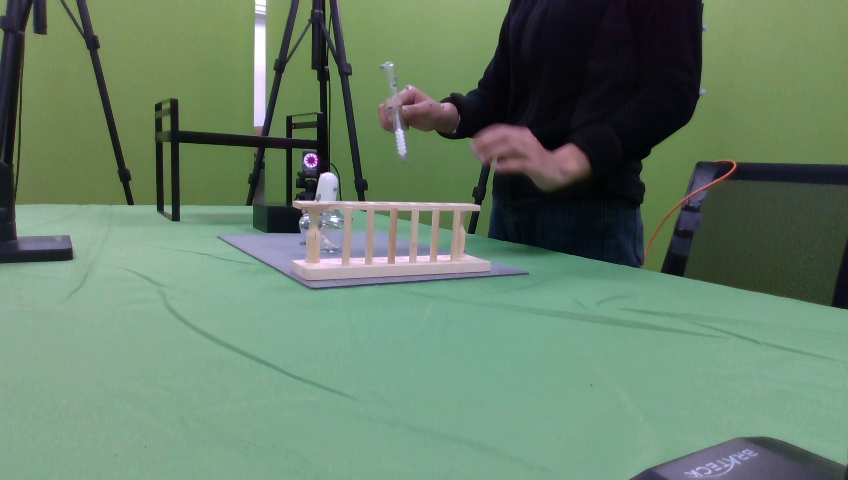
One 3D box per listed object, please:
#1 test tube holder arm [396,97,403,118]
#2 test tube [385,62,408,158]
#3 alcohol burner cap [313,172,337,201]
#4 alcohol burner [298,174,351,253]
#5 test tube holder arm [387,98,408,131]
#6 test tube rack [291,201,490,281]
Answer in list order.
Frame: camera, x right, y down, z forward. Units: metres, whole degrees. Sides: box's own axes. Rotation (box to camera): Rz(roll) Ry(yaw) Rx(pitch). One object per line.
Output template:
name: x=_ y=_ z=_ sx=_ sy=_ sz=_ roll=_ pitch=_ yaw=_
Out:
test tube holder arm: x=-0.039 y=-0.209 z=0.961 sx=0.010 sy=0.015 sz=0.088 roll=-5 pitch=-2 yaw=-3
test tube: x=-0.042 y=-0.202 z=0.938 sx=0.017 sy=0.150 sz=0.017 roll=-8 pitch=-1 yaw=0
alcohol burner cap: x=-0.144 y=-0.076 z=0.888 sx=0.034 sy=0.048 sz=0.034 roll=8 pitch=6 yaw=-1
alcohol burner: x=-0.146 y=-0.040 z=0.894 sx=0.078 sy=0.119 sz=0.078 roll=5 pitch=7 yaw=0
test tube holder arm: x=-0.043 y=-0.207 z=1.006 sx=0.013 sy=0.015 sz=0.178 roll=-5 pitch=-2 yaw=4
test tube rack: x=-0.035 y=-0.002 z=0.745 sx=0.243 sy=0.085 sz=0.066 roll=-1 pitch=8 yaw=-28
